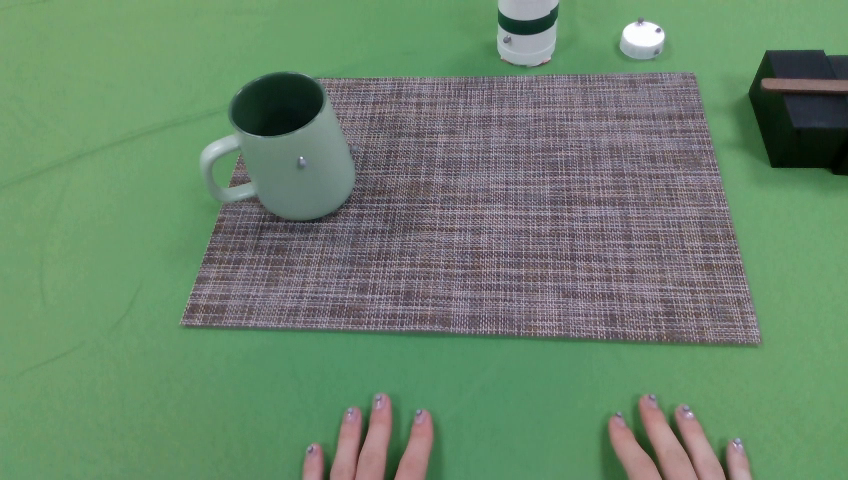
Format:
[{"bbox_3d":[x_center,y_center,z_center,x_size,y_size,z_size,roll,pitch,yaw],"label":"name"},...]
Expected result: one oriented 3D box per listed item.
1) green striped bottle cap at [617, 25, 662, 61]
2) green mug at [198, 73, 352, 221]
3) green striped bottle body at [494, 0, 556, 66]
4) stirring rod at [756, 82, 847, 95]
[{"bbox_3d":[0.228,-0.209,0.642,0.044,0.020,0.044,-3,51,4],"label":"green striped bottle cap"},{"bbox_3d":[-0.129,-0.070,0.520,0.125,0.106,0.091,-26,57,-12],"label":"green mug"},{"bbox_3d":[0.102,-0.243,0.614,0.063,0.120,0.062,-3,54,4],"label":"green striped bottle body"},{"bbox_3d":[0.377,-0.129,0.516,0.176,0.006,0.014,2,56,8],"label":"stirring rod"}]
